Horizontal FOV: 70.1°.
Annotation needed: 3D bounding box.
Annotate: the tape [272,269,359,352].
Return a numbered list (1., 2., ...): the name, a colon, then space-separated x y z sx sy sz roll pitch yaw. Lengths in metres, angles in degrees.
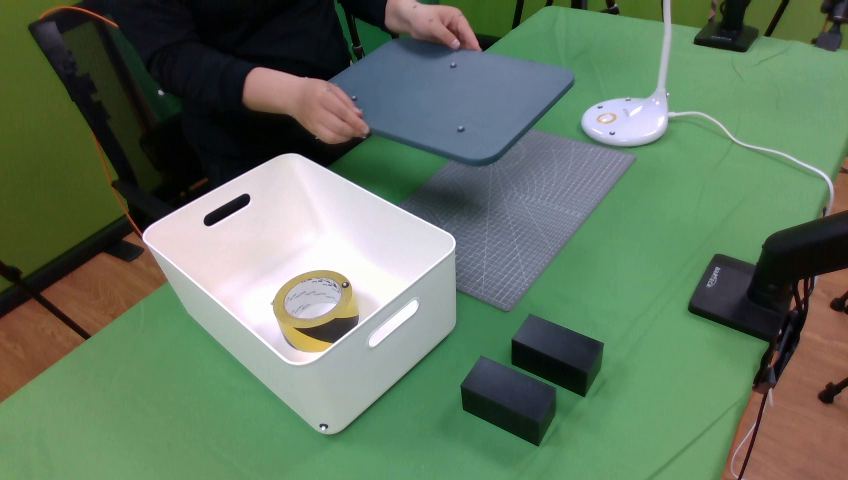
1. tape: -0.150 0.097 0.843 0.117 0.053 0.116 -4 41 4

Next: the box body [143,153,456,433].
1. box body: -0.158 0.054 0.819 0.361 0.161 0.255 29 52 34

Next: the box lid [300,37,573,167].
1. box lid: 0.015 -0.227 0.931 0.368 0.015 0.264 23 52 31

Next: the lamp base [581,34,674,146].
1. lamp base: 0.392 -0.291 1.129 0.180 0.181 0.159 -11 41 -8
